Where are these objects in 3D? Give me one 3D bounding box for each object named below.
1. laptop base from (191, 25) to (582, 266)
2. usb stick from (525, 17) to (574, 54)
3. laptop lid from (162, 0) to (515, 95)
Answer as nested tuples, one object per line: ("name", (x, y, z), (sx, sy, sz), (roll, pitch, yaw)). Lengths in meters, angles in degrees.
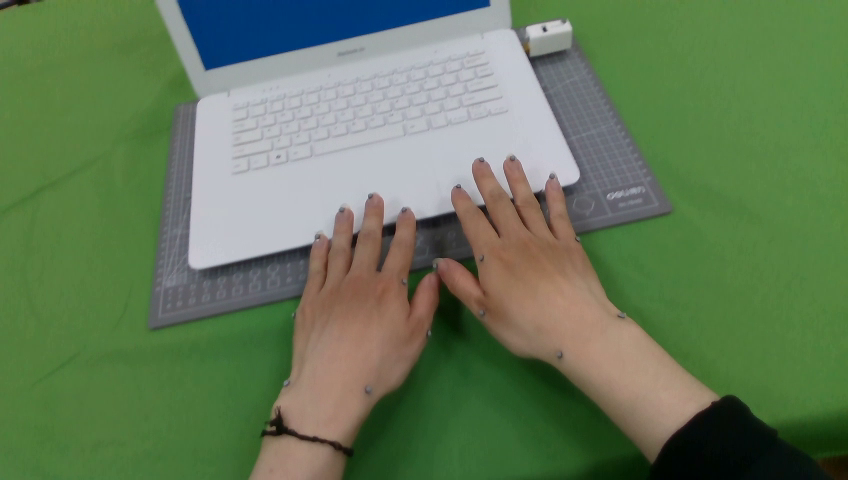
("laptop base", (-0.050, -0.102, 0.598), (0.354, 0.023, 0.233), (-13, 56, 0))
("usb stick", (0.126, -0.213, 0.636), (0.059, 0.027, 0.021), (-12, 53, 3))
("laptop lid", (-0.092, -0.287, 0.600), (0.357, 0.244, 0.013), (-14, 35, 1))
